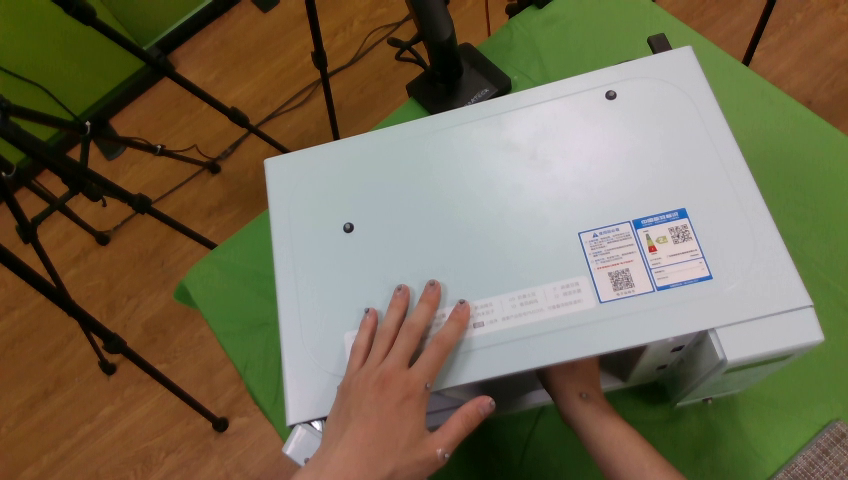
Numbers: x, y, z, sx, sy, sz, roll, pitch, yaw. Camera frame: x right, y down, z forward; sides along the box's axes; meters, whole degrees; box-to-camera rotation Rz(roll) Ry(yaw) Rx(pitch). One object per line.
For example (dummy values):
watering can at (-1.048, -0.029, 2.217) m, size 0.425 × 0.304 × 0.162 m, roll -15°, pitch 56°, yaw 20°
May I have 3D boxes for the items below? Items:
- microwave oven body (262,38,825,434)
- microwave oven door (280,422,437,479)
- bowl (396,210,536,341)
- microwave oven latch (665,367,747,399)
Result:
microwave oven body at (0.093, 0.028, 0.654) m, size 0.441 × 0.262 × 0.323 m, roll -14°, pitch 66°, yaw 5°
microwave oven door at (0.054, 0.278, 0.549) m, size 0.353 × 0.246 × 0.039 m, roll 27°, pitch 75°, yaw 20°
bowl at (0.050, 0.050, 0.681) m, size 0.151 × 0.077 × 0.150 m, roll -3°, pitch 63°, yaw 7°
microwave oven latch at (0.309, 0.153, 0.666) m, size 0.079 × 0.030 × 0.030 m, roll -13°, pitch 66°, yaw 6°
